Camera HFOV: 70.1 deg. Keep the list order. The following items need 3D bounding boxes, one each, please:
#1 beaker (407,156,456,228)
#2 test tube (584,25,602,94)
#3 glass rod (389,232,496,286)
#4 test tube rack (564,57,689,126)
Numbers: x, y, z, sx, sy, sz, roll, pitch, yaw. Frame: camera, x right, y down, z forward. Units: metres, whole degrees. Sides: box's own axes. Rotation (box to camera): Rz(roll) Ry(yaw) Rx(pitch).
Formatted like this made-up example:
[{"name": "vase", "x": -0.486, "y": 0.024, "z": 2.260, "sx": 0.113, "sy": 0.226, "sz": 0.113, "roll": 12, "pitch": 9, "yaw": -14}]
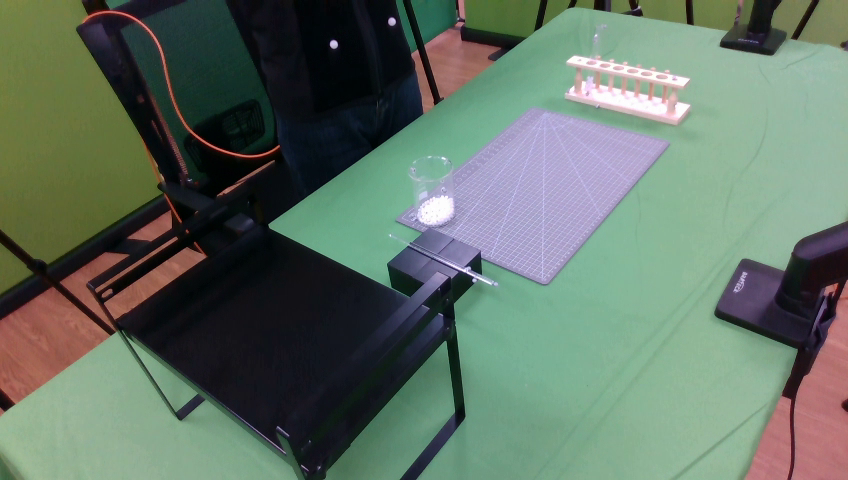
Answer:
[{"name": "beaker", "x": 0.016, "y": -0.079, "z": 1.002, "sx": 0.073, "sy": 0.101, "sz": 0.084, "roll": 26, "pitch": 49, "yaw": 33}, {"name": "test tube", "x": 0.341, "y": -0.362, "z": 1.224, "sx": 0.017, "sy": 0.151, "sz": 0.017, "roll": -2, "pitch": 47, "yaw": 2}, {"name": "glass rod", "x": 0.022, "y": 0.025, "z": 0.878, "sx": 0.198, "sy": 0.008, "sz": 0.008, "roll": 25, "pitch": 50, "yaw": 33}, {"name": "test tube rack", "x": 0.411, "y": -0.311, "z": 1.230, "sx": 0.240, "sy": 0.085, "sz": 0.067, "roll": 23, "pitch": 49, "yaw": 32}]
